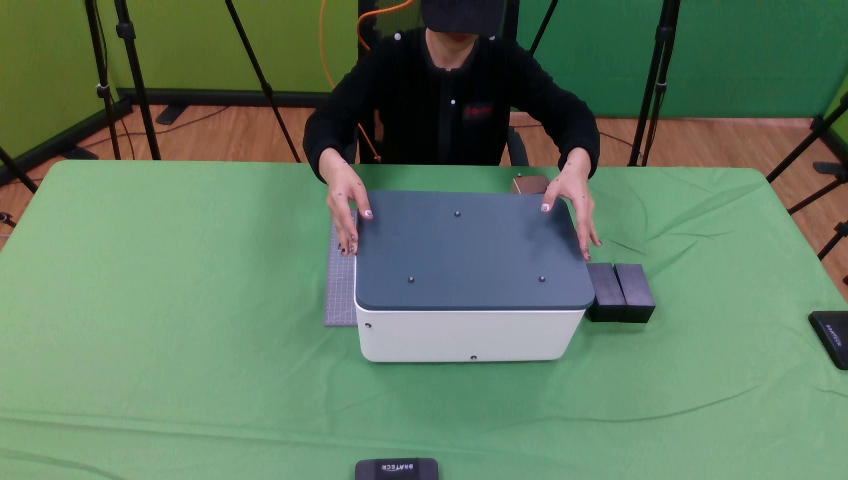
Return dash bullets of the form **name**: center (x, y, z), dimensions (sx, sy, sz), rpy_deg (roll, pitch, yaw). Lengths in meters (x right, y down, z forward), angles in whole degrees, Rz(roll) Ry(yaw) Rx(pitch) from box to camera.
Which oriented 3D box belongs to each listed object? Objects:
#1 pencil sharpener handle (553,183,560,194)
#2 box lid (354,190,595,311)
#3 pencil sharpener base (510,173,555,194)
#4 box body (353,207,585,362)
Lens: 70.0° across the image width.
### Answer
- **pencil sharpener handle**: center (0.267, -0.089, 1.224), dimensions (0.031, 0.068, 0.035), rpy_deg (-6, 44, -10)
- **box lid**: center (0.077, 0.010, 0.984), dimensions (0.372, 0.015, 0.261), rpy_deg (0, 45, -5)
- **pencil sharpener base**: center (0.216, -0.075, 1.223), dimensions (0.077, 0.107, 0.061), rpy_deg (-6, 46, -10)
- **box body**: center (0.066, 0.069, 1.037), dimensions (0.364, 0.161, 0.252), rpy_deg (0, 46, -4)
